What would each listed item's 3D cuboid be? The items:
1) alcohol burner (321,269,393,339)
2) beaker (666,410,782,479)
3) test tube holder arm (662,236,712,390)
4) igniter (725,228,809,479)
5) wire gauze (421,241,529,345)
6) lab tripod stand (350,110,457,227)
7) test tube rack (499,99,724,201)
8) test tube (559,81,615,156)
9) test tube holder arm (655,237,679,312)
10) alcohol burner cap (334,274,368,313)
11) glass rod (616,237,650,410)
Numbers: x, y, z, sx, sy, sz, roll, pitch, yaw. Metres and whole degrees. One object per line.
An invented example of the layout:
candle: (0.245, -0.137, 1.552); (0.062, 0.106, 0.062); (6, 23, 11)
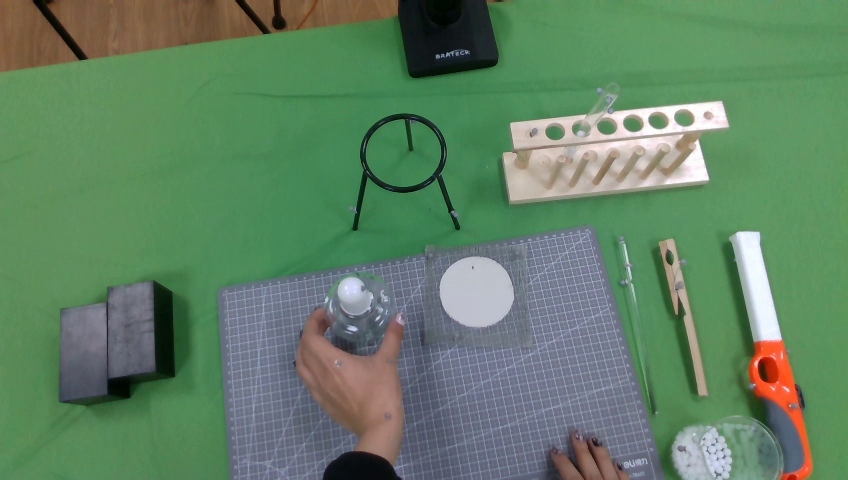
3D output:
alcohol burner: (-0.074, 0.064, 0.642); (0.078, 0.120, 0.077); (-1, 72, 2)
beaker: (0.289, 0.209, 0.604); (0.084, 0.101, 0.073); (21, 73, 8)
test tube holder arm: (0.296, 0.080, 0.687); (0.013, 0.015, 0.177); (-22, 67, 33)
igniter: (0.378, 0.119, 0.671); (0.057, 0.025, 0.274); (1, 71, -10)
wire gauze: (0.059, 0.059, 0.699); (0.125, 0.011, 0.120); (1, 73, 0)
lab tripod stand: (-0.026, -0.071, 0.679); (0.148, 0.132, 0.147); (0, 74, 0)
test tube rack: (0.217, -0.104, 0.714); (0.242, 0.085, 0.066); (-6, 71, -2)
test tube: (0.177, -0.130, 0.670); (0.017, 0.151, 0.017); (2, 72, -5)
test tube holder arm: (0.285, 0.040, 0.704); (0.010, 0.015, 0.087); (-21, 68, 34)
alcohol burner cap: (-0.075, 0.051, 0.608); (0.034, 0.048, 0.033); (0, 65, 1)
glass rod: (0.238, 0.091, 0.690); (0.008, 0.008, 0.198); (-4, 74, -1)
